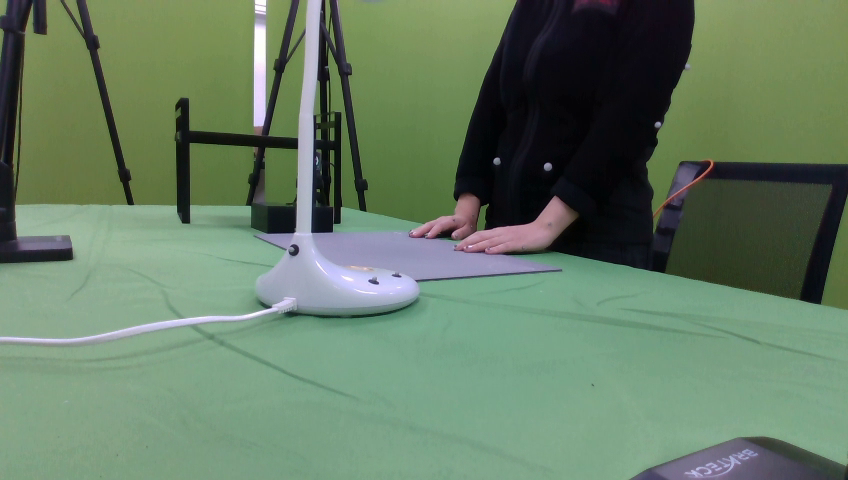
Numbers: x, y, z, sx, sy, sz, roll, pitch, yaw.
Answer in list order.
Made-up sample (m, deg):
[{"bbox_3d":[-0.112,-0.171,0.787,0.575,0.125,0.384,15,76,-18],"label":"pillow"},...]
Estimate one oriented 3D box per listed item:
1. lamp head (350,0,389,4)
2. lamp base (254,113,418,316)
[{"bbox_3d":[-0.053,-0.313,0.597,0.112,0.112,0.123,6,-28,25],"label":"lamp head"},{"bbox_3d":[-0.086,-0.027,0.577,0.160,0.180,0.179,4,10,16],"label":"lamp base"}]
